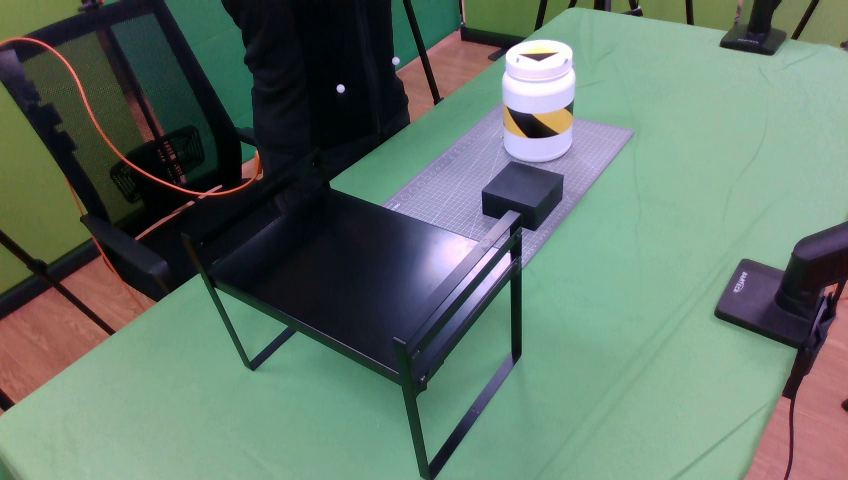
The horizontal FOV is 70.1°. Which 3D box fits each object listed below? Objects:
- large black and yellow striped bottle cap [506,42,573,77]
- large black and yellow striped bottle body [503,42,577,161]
[{"bbox_3d":[0.201,-0.317,1.056,0.115,0.019,0.114,-3,39,3],"label":"large black and yellow striped bottle cap"},{"bbox_3d":[0.212,-0.253,1.110,0.131,0.185,0.130,-5,41,5],"label":"large black and yellow striped bottle body"}]
